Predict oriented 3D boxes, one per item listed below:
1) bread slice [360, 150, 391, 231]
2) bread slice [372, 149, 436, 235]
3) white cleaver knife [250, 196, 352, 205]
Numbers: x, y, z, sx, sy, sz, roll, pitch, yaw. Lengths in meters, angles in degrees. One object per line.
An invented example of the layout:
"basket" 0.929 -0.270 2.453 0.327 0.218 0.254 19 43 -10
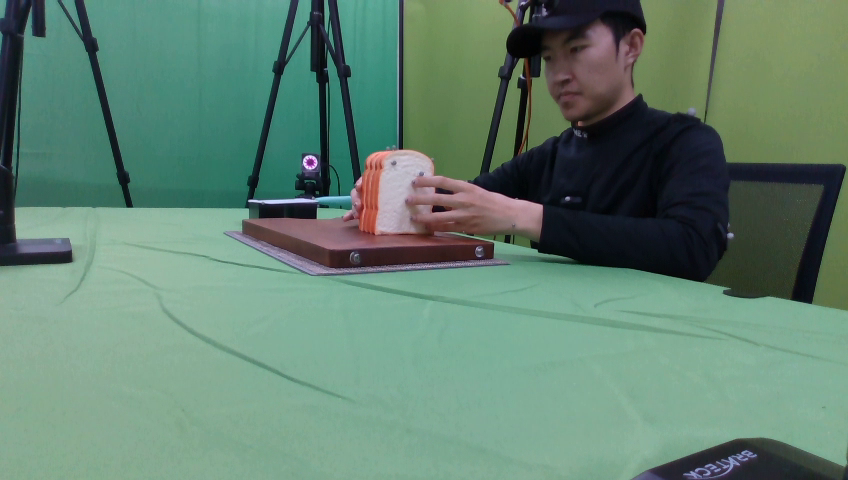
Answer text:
"bread slice" -0.055 -0.080 0.984 0.105 0.131 0.019 0 3 -32
"bread slice" -0.031 -0.074 0.940 0.107 0.134 0.018 -5 10 -30
"white cleaver knife" -0.257 -0.087 1.306 0.065 0.021 0.288 7 7 30
